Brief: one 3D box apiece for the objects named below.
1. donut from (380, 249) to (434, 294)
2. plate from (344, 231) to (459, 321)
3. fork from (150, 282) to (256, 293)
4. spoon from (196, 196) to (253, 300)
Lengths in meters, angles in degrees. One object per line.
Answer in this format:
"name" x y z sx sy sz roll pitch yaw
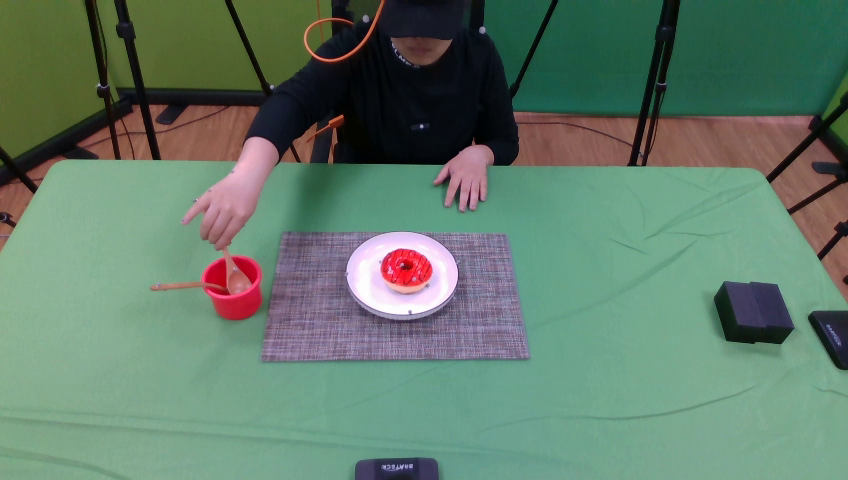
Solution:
"donut" -0.032 0.056 1.111 0.099 0.048 0.098 4 43 -3
"plate" -0.042 0.068 1.115 0.209 0.038 0.208 2 46 -2
"fork" -0.362 0.079 1.007 0.028 0.018 0.208 35 11 28
"spoon" -0.342 0.014 1.032 0.041 0.021 0.194 -24 95 -36
